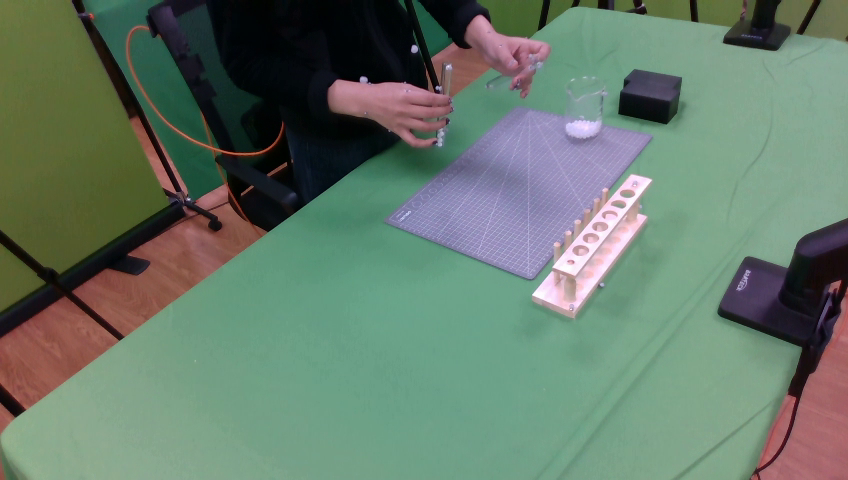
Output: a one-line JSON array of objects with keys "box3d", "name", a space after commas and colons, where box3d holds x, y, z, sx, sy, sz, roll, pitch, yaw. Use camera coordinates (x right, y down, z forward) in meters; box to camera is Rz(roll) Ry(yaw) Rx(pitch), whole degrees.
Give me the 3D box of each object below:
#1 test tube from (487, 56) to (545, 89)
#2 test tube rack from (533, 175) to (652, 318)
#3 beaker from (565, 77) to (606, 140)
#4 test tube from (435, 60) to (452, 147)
[{"box3d": [0.149, -0.275, 1.000, 0.017, 0.017, 0.149, -33, 13, -25], "name": "test tube"}, {"box3d": [0.250, -0.001, 0.889, 0.066, 0.085, 0.243, 22, 49, 33], "name": "test tube rack"}, {"box3d": [0.304, -0.247, 1.153, 0.073, 0.101, 0.084, 15, 47, 27], "name": "beaker"}, {"box3d": [0.032, -0.222, 0.998, 0.017, 0.151, 0.017, 4, 36, -2], "name": "test tube"}]
